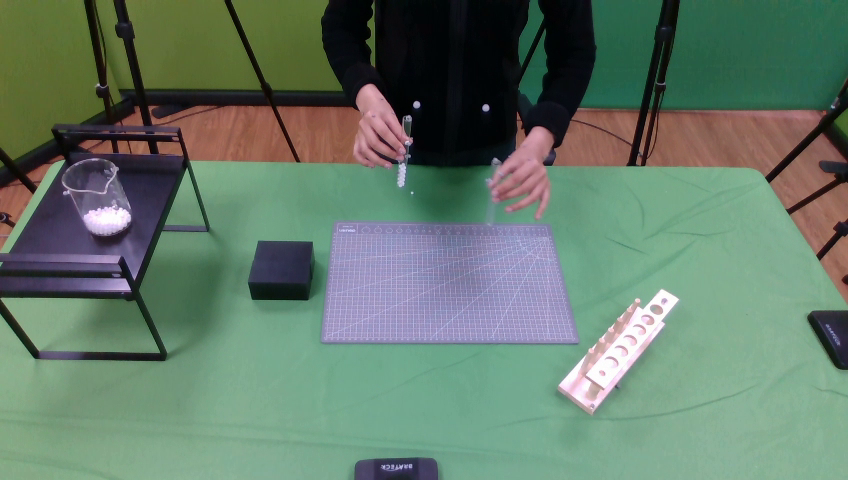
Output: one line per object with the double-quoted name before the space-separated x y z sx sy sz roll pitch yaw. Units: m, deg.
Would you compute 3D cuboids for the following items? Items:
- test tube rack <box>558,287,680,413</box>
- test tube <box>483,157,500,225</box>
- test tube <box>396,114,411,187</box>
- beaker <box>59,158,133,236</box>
"test tube rack" 0.326 0.170 1.009 0.066 0.085 0.242 36 54 27
"test tube" 0.115 -0.080 1.042 0.017 0.151 0.017 1 47 0
"test tube" -0.036 -0.151 1.046 0.017 0.151 0.017 4 45 -4
"beaker" -0.488 -0.060 0.915 0.074 0.101 0.083 -35 58 -30
